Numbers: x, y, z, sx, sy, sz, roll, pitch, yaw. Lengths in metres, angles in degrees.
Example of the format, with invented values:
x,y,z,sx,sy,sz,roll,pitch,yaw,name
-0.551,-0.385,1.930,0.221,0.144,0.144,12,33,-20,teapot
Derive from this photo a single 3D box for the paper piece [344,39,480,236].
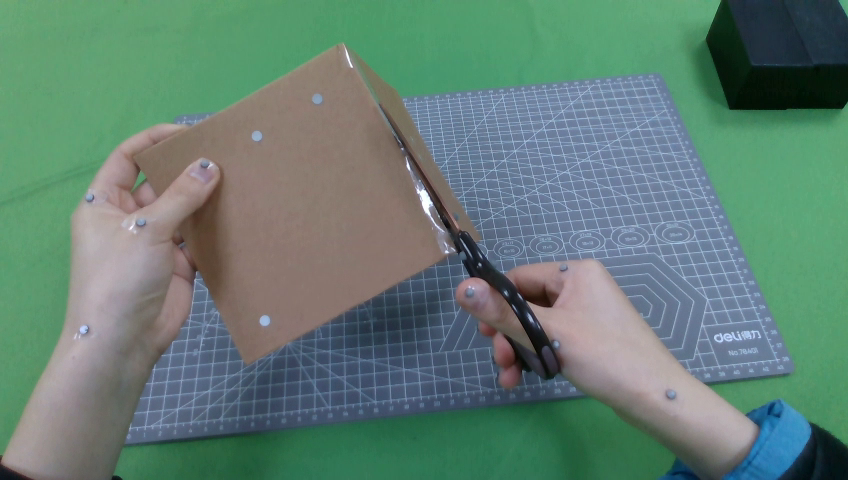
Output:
x,y,z,sx,sy,sz,roll,pitch,yaw,name
0.000,-0.061,0.404,0.004,0.136,0.135,-31,89,10,paper piece

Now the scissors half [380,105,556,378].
x,y,z,sx,sy,sz,roll,pitch,yaw,name
0.020,-0.006,0.323,0.013,0.040,0.174,-29,72,-8,scissors half

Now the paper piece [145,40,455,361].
x,y,z,sx,sy,sz,roll,pitch,yaw,name
-0.074,-0.023,0.339,0.138,0.009,0.135,-28,81,7,paper piece

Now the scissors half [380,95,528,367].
x,y,z,sx,sy,sz,roll,pitch,yaw,name
0.019,-0.004,0.345,0.013,0.040,0.176,-30,100,-3,scissors half
